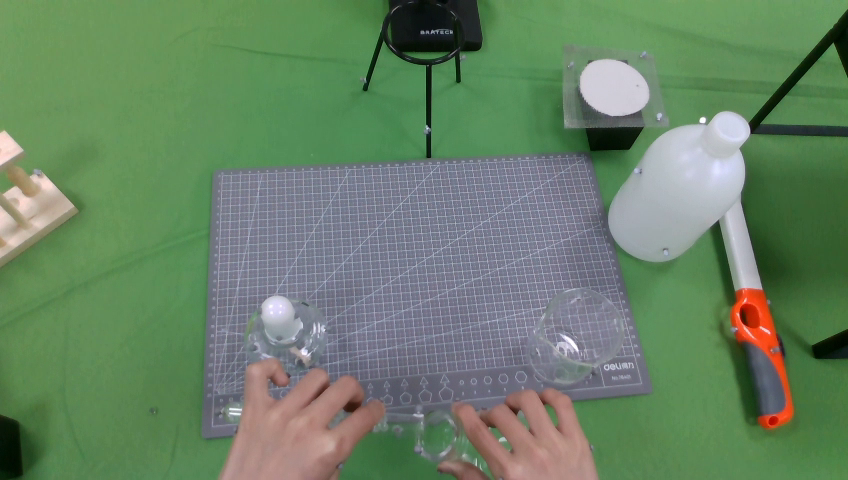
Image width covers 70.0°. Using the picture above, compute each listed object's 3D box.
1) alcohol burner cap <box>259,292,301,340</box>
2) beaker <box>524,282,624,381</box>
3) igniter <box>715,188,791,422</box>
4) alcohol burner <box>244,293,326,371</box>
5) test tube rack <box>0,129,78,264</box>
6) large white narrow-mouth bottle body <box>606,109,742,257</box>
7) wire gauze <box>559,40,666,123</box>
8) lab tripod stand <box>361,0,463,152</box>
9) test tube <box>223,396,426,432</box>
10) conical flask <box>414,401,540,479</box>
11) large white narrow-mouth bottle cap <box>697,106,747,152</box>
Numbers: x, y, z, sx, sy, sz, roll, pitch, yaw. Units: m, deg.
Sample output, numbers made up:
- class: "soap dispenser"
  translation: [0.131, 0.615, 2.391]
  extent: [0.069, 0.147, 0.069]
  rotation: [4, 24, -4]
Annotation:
- class: "alcohol burner cap"
  translation: [-0.129, 0.065, 0.535]
  extent: [0.034, 0.048, 0.033]
  rotation: [1, 59, -1]
- class: "beaker"
  translation: [0.138, 0.094, 0.592]
  extent: [0.084, 0.101, 0.073]
  rotation: [-7, 65, -7]
- class: "igniter"
  translation: [0.357, 0.060, 0.670]
  extent: [0.057, 0.025, 0.274]
  rotation: [7, 64, -13]
- class: "alcohol burner"
  translation: [-0.131, 0.080, 0.568]
  extent: [0.078, 0.120, 0.077]
  rotation: [3, 63, -5]
- class: "test tube rack"
  translation: [-0.482, 0.004, 0.592]
  extent: [0.066, 0.086, 0.242]
  rotation: [41, 68, 14]
- class: "large white narrow-mouth bottle body"
  translation: [0.264, -0.063, 0.627]
  extent: [0.102, 0.196, 0.101]
  rotation: [2, 64, -3]
- class: "wire gauze"
  translation: [0.224, -0.190, 0.731]
  extent: [0.121, 0.011, 0.124]
  rotation: [3, 64, -3]
- class: "lab tripod stand"
  translation: [-0.005, -0.198, 0.701]
  extent: [0.148, 0.132, 0.147]
  rotation: [3, 65, -5]
- class: "test tube"
  translation: [-0.073, 0.128, 0.445]
  extent: [0.150, 0.017, 0.017]
  rotation: [3, 64, 4]
- class: "conical flask"
  translation: [0.040, 0.162, 0.496]
  extent: [0.075, 0.123, 0.074]
  rotation: [-15, 61, 29]
- class: "large white narrow-mouth bottle cap"
  translation: [0.269, -0.101, 0.551]
  extent: [0.038, 0.024, 0.037]
  rotation: [2, 65, -3]
